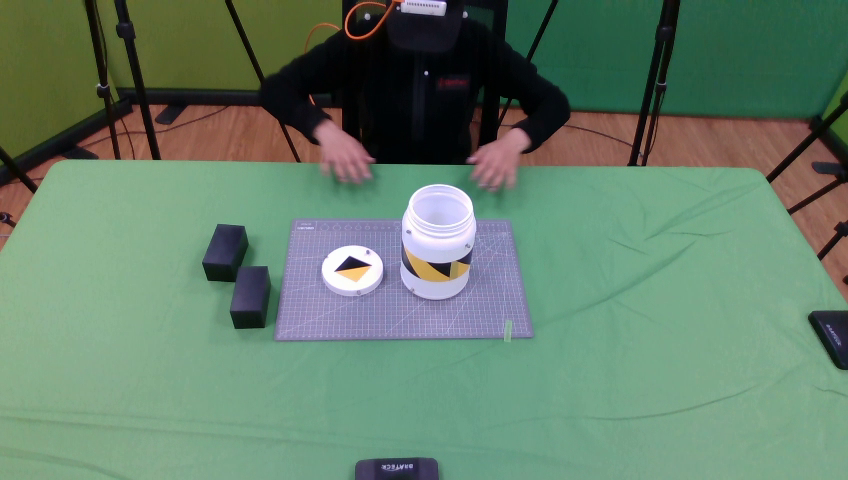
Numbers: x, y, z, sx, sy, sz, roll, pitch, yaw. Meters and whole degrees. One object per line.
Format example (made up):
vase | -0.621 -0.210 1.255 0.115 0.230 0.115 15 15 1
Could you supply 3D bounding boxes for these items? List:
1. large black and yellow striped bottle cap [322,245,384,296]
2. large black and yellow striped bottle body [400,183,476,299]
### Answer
large black and yellow striped bottle cap | -0.133 0.055 1.135 0.115 0.019 0.114 2 47 -2
large black and yellow striped bottle body | 0.024 0.003 1.079 0.131 0.185 0.130 2 46 -2
